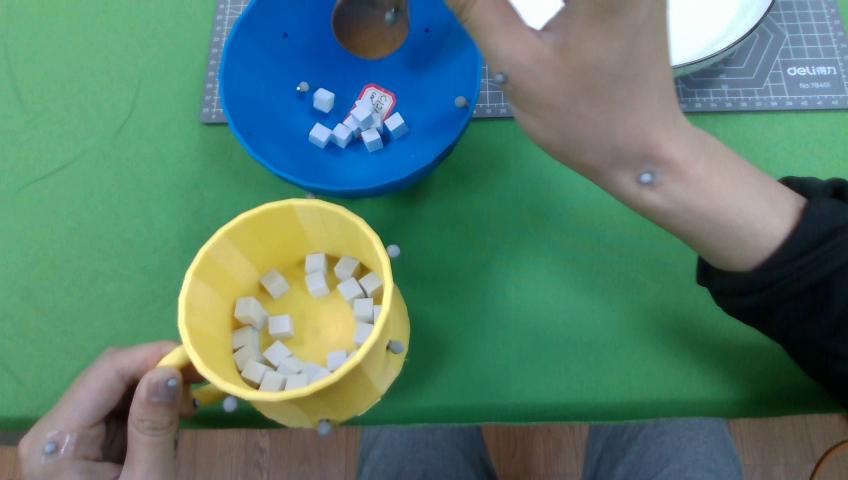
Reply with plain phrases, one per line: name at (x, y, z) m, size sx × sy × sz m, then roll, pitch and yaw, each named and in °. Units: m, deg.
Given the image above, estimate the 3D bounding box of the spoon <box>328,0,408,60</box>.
spoon at (-0.003, -0.114, 0.257) m, size 0.042 × 0.193 × 0.021 m, roll 24°, pitch 82°, yaw -20°

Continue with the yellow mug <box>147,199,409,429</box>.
yellow mug at (-0.074, 0.046, 0.301) m, size 0.131 × 0.064 × 0.099 m, roll -31°, pitch 65°, yaw -9°

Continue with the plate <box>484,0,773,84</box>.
plate at (0.138, -0.195, 0.428) m, size 0.209 × 0.038 × 0.207 m, roll -1°, pitch 70°, yaw 2°

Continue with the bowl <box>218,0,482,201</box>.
bowl at (-0.040, -0.086, 0.377) m, size 0.151 × 0.077 × 0.150 m, roll -1°, pitch 74°, yaw 3°
